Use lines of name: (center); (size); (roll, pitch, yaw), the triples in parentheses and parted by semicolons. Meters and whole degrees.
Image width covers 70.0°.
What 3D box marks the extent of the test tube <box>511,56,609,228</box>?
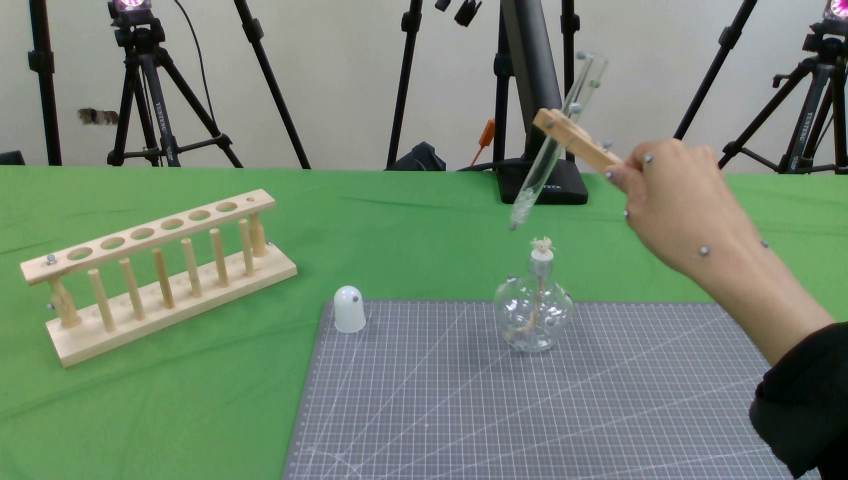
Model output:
test tube: (0.103, -0.071, 0.474); (0.017, 0.151, 0.017); (16, 32, -10)

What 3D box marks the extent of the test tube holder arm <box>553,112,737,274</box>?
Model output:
test tube holder arm: (0.149, -0.040, 0.432); (0.013, 0.015, 0.176); (-8, 45, -39)

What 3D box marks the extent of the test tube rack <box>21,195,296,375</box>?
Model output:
test tube rack: (-0.260, 0.038, 0.628); (0.243, 0.086, 0.066); (-23, 39, -32)

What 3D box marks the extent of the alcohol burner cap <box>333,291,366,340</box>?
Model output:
alcohol burner cap: (-0.076, 0.073, 0.609); (0.034, 0.048, 0.033); (1, 34, 0)

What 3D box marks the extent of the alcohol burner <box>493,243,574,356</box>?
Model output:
alcohol burner: (0.106, 0.051, 0.576); (0.078, 0.120, 0.077); (1, 35, 0)

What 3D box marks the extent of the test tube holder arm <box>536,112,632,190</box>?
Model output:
test tube holder arm: (0.119, -0.067, 0.451); (0.010, 0.015, 0.087); (-16, 51, -45)
